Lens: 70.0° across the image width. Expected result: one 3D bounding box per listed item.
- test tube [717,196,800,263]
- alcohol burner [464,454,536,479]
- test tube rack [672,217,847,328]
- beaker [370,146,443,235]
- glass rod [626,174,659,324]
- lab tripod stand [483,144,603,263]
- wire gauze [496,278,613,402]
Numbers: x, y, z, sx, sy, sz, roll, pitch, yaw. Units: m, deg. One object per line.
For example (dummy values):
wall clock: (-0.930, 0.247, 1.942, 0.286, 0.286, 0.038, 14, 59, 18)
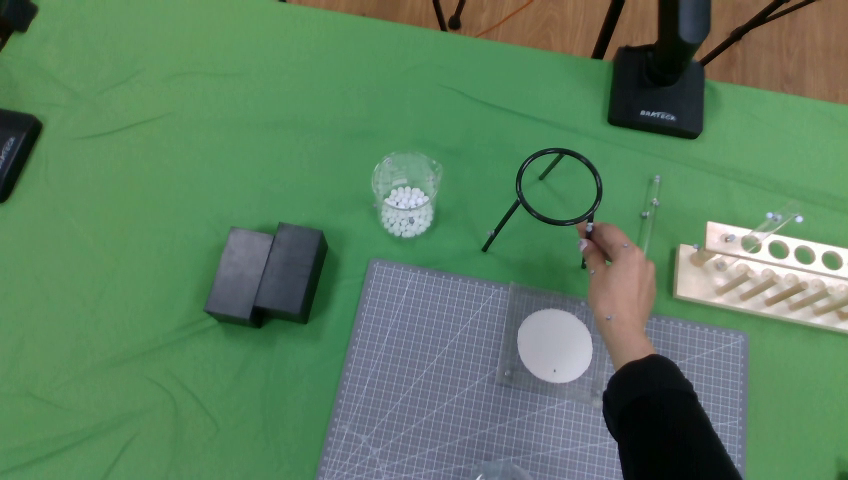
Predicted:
test tube: (0.354, -0.007, 0.649, 0.017, 0.151, 0.017, 0, 67, 0)
alcohol burner: (0.077, 0.248, 0.587, 0.078, 0.120, 0.077, 1, 69, -3)
test tube rack: (0.420, 0.042, 0.686, 0.242, 0.085, 0.066, 11, 70, 3)
beaker: (-0.018, -0.054, 0.701, 0.084, 0.101, 0.073, -26, 73, -11)
glass rod: (0.266, 0.008, 0.733, 0.008, 0.008, 0.198, 16, 72, 4)
lab tripod stand: (0.138, -0.042, 0.683, 0.148, 0.132, 0.147, 0, 69, 0)
wire gauze: (0.150, 0.111, 0.693, 0.125, 0.011, 0.121, 13, 70, 4)
